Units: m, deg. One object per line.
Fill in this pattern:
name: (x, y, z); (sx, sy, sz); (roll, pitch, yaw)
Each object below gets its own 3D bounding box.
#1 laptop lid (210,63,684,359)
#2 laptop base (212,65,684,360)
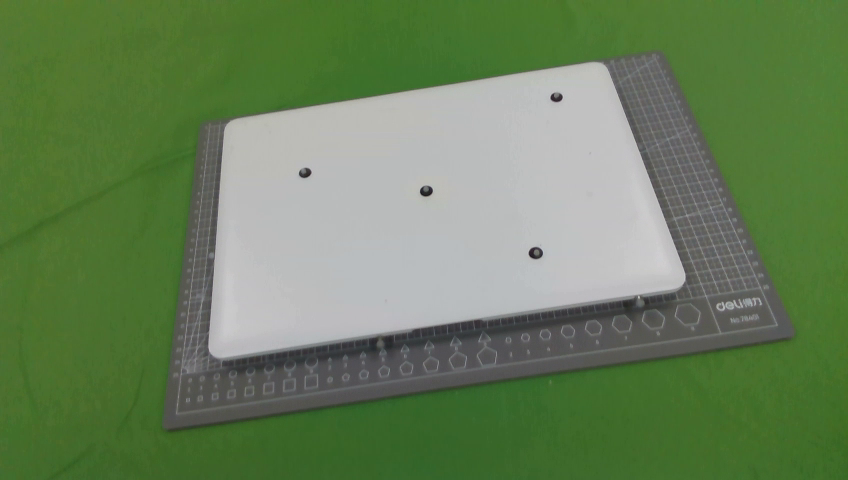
laptop lid: (0.003, -0.037, 0.494); (0.357, 0.013, 0.239); (-7, 59, 2)
laptop base: (0.004, -0.033, 0.505); (0.354, 0.023, 0.233); (-9, 61, 1)
